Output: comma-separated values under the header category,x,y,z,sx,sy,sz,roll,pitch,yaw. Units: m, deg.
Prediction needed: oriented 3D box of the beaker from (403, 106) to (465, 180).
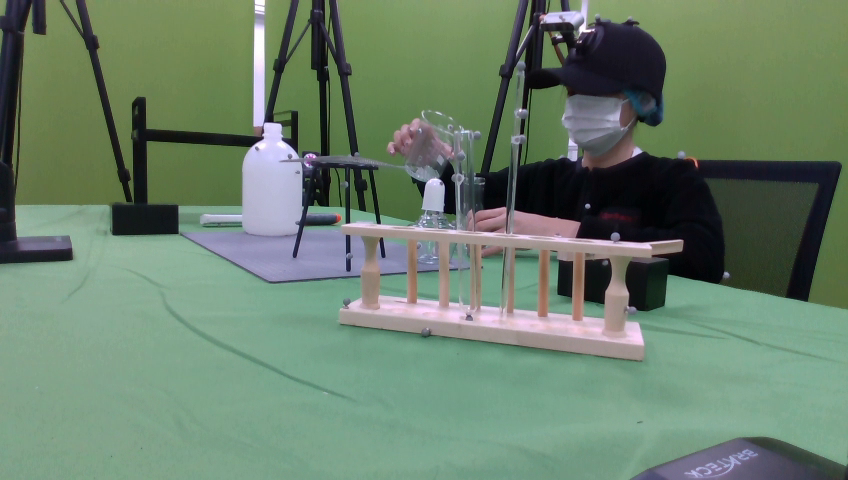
category,x,y,z,sx,sy,sz,roll,pitch,yaw
beaker,0.015,-0.154,0.985,0.083,0.100,0.074,43,34,25

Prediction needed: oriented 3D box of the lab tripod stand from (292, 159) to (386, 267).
category,x,y,z,sx,sy,sz,roll,pitch,yaw
lab tripod stand,-0.105,-0.039,0.797,0.148,0.131,0.148,2,5,0

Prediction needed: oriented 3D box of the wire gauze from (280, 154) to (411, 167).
category,x,y,z,sx,sy,sz,roll,pitch,yaw
wire gauze,-0.102,-0.104,0.785,0.121,0.011,0.126,8,8,42

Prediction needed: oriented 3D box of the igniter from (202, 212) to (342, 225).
category,x,y,z,sx,sy,sz,roll,pitch,yaw
igniter,-0.298,-0.043,1.216,0.278,0.025,0.057,-3,-2,-32

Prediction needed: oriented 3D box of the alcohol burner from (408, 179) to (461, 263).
category,x,y,z,sx,sy,sz,roll,pitch,yaw
alcohol burner,0.014,-0.029,0.834,0.078,0.119,0.078,0,6,0

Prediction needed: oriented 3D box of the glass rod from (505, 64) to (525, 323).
category,x,y,z,sx,sy,sz,roll,pitch,yaw
glass rod,0.069,-0.030,0.458,0.008,0.199,0.008,0,15,0

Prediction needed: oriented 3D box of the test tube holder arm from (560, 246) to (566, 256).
category,x,y,z,sx,sy,sz,roll,pitch,yaw
test tube holder arm,0.173,0.007,0.611,0.088,0.015,0.010,-3,9,-30

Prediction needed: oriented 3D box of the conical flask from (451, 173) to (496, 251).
category,x,y,z,sx,sy,sz,roll,pitch,yaw
conical flask,0.080,-0.046,0.971,0.075,0.122,0.075,2,8,0

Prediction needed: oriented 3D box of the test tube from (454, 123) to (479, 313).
category,x,y,z,sx,sy,sz,roll,pitch,yaw
test tube,0.034,-0.016,0.477,0.017,0.150,0.017,-2,9,1

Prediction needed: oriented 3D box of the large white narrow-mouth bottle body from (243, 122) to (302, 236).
category,x,y,z,sx,sy,sz,roll,pitch,yaw
large white narrow-mouth bottle body,-0.264,-0.109,1.061,0.102,0.194,0.102,2,8,0

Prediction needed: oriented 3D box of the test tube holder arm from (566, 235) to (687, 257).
category,x,y,z,sx,sy,sz,roll,pitch,yaw
test tube holder arm,0.215,0.006,0.629,0.179,0.015,0.013,-3,9,-30

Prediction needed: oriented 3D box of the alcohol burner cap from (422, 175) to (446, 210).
category,x,y,z,sx,sy,sz,roll,pitch,yaw
alcohol burner cap,0.016,-0.065,0.830,0.034,0.048,0.034,7,4,0

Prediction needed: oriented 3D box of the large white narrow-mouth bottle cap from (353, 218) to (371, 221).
category,x,y,z,sx,sy,sz,roll,pitch,yaw
large white narrow-mouth bottle cap,-0.120,-0.029,1.184,0.038,0.024,0.037,2,8,0

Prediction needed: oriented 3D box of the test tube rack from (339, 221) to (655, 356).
category,x,y,z,sx,sy,sz,roll,pitch,yaw
test tube rack,0.056,0.032,0.495,0.242,0.085,0.067,4,7,15
